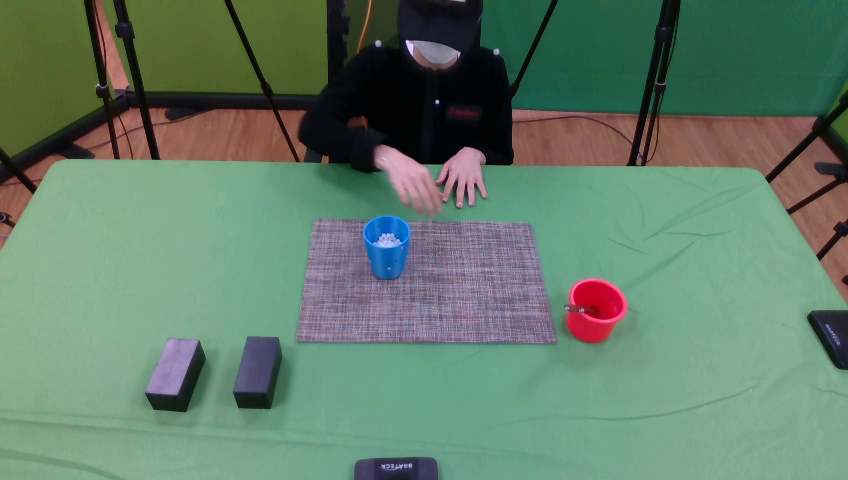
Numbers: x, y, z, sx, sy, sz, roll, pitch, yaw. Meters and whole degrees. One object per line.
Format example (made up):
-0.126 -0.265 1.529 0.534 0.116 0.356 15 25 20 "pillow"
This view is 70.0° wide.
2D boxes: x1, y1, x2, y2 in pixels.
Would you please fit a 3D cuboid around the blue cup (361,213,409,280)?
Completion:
-0.070 0.020 1.113 0.093 0.101 0.092 1 46 -1 "blue cup"

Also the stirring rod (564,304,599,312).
0.270 0.116 1.028 0.014 0.006 0.177 44 16 27 "stirring rod"
